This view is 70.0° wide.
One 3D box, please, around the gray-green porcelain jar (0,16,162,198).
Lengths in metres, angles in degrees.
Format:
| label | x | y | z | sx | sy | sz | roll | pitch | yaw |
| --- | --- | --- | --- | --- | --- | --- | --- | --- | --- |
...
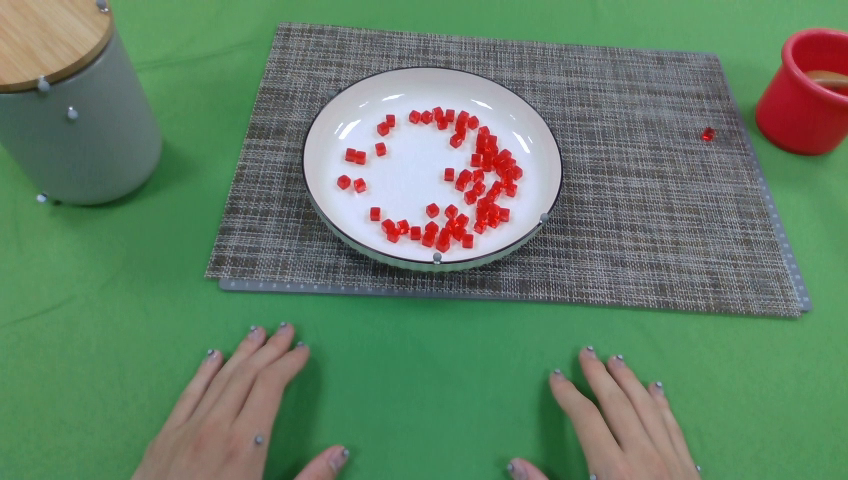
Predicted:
| label | x | y | z | sx | sy | sz | roll | pitch | yaw |
| --- | --- | --- | --- | --- | --- | --- | --- | --- | --- |
| gray-green porcelain jar | -0.263 | -0.102 | 0.451 | 0.106 | 0.127 | 0.105 | 2 | 56 | -3 |

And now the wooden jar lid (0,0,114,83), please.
| label | x | y | z | sx | sy | sz | roll | pitch | yaw |
| --- | --- | --- | --- | --- | --- | --- | --- | --- | --- |
| wooden jar lid | -0.258 | -0.138 | 0.397 | 0.108 | 0.021 | 0.107 | 2 | 59 | -3 |

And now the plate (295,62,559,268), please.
| label | x | y | z | sx | sy | sz | roll | pitch | yaw |
| --- | --- | --- | --- | --- | --- | --- | --- | --- | --- |
| plate | 0.003 | -0.062 | 0.494 | 0.208 | 0.039 | 0.205 | 2 | 57 | -3 |

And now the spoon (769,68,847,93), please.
| label | x | y | z | sx | sy | sz | roll | pitch | yaw |
| --- | --- | --- | --- | --- | --- | --- | --- | --- | --- |
| spoon | 0.381 | -0.134 | 0.504 | 0.042 | 0.022 | 0.192 | -21 | 21 | -22 |
